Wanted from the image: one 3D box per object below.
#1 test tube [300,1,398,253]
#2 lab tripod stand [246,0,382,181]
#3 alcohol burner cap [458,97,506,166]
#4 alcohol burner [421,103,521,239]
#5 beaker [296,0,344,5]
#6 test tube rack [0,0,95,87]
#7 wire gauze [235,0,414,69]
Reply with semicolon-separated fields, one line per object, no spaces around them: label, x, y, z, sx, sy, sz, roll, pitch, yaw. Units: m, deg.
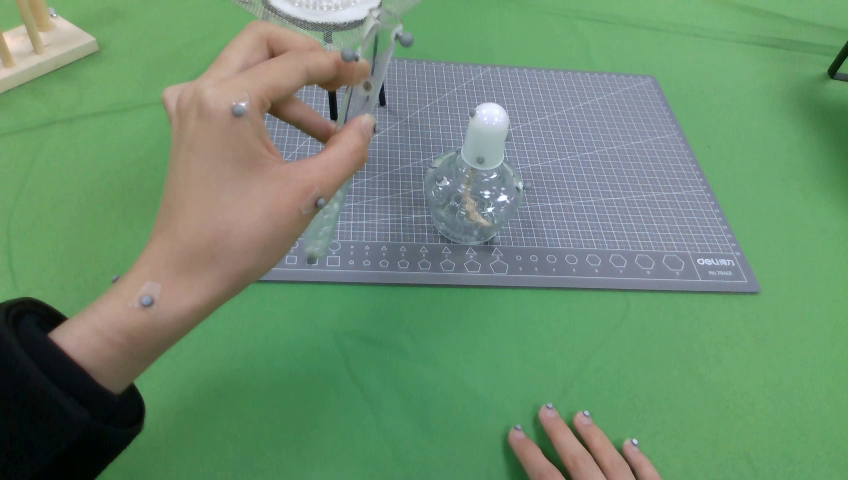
test tube;-0.042;-0.047;0.306;0.017;0.151;0.017;14;41;-12
lab tripod stand;-0.084;-0.144;0.499;0.149;0.132;0.147;6;50;-6
alcohol burner cap;0.043;-0.079;0.429;0.034;0.048;0.033;3;54;-3
alcohol burner;0.039;-0.057;0.457;0.078;0.120;0.077;6;49;-6
beaker;-0.077;-0.223;0.415;0.073;0.101;0.084;40;57;22
test tube rack;-0.413;-0.165;0.501;0.066;0.086;0.242;32;53;18
wire gauze;-0.078;-0.186;0.449;0.124;0.011;0.121;35;56;15
